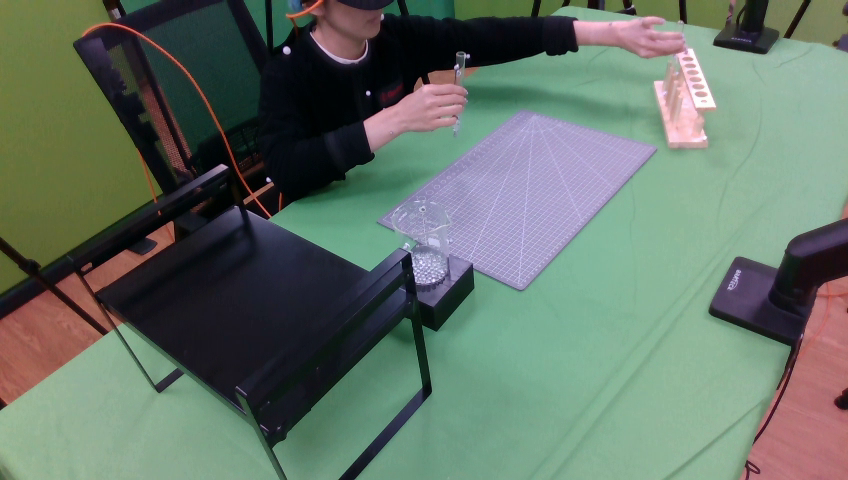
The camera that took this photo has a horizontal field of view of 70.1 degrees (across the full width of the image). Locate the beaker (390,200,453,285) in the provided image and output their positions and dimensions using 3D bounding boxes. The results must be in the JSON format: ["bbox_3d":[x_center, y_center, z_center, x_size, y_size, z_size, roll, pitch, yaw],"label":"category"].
[{"bbox_3d":[0.002,0.006,0.831,0.084,0.101,0.074,5,42,13],"label":"beaker"}]

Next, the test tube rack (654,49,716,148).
[{"bbox_3d":[0.502,-0.281,1.176,0.066,0.085,0.241,2,42,11],"label":"test tube rack"}]

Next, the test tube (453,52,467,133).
[{"bbox_3d":[0.062,-0.254,1.054,0.017,0.150,0.017,1,42,-1],"label":"test tube"}]

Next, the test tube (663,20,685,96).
[{"bbox_3d":[0.486,-0.352,1.175,0.017,0.151,0.017,-3,39,3],"label":"test tube"}]
